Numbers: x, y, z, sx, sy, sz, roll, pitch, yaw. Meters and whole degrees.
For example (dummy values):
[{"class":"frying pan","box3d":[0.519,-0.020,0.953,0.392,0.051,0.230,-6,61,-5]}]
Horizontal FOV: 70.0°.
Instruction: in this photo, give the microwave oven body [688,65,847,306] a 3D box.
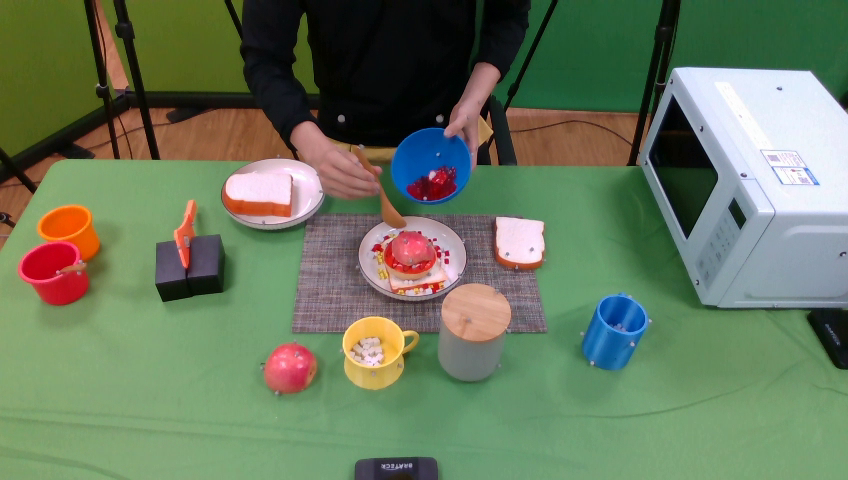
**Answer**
[{"class":"microwave oven body","box3d":[0.669,-0.111,1.176,0.326,0.261,0.439,0,46,-3]}]

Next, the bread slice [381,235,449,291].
[{"class":"bread slice","box3d":[-0.026,0.038,1.138,0.107,0.018,0.133,-13,46,-15]}]

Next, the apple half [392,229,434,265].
[{"class":"apple half","box3d":[-0.020,0.005,1.083,0.081,0.033,0.081,7,48,-7]}]

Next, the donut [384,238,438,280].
[{"class":"donut","box3d":[-0.025,0.030,1.110,0.099,0.048,0.098,3,46,-2]}]

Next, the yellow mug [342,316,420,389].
[{"class":"yellow mug","box3d":[-0.067,0.177,0.991,0.131,0.064,0.099,-16,50,-19]}]

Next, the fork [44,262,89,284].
[{"class":"fork","box3d":[-0.599,0.053,1.014,0.207,0.019,0.028,-14,29,45]}]

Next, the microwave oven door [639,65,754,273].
[{"class":"microwave oven door","box3d":[0.522,-0.147,1.193,0.039,0.245,0.353,0,47,-3]}]

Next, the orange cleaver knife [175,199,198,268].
[{"class":"orange cleaver knife","box3d":[-0.438,-0.017,1.138,0.012,0.077,0.210,-13,27,-7]}]

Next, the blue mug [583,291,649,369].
[{"class":"blue mug","box3d":[0.324,0.142,1.023,0.082,0.106,0.116,15,47,11]}]

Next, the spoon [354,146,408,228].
[{"class":"spoon","box3d":[-0.071,-0.080,0.968,0.041,0.195,0.021,1,49,26]}]

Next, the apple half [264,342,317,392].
[{"class":"apple half","box3d":[-0.214,0.198,0.970,0.074,0.053,0.080,19,48,10]}]

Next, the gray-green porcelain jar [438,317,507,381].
[{"class":"gray-green porcelain jar","box3d":[0.076,0.158,0.977,0.106,0.127,0.105,2,47,-2]}]

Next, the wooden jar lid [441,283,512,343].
[{"class":"wooden jar lid","box3d":[0.080,0.114,0.931,0.108,0.021,0.107,1,49,-1]}]

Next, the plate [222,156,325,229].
[{"class":"plate","box3d":[-0.308,-0.095,1.251,0.209,0.038,0.208,2,47,-2]}]

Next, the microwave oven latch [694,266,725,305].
[{"class":"microwave oven latch","box3d":[0.523,0.082,1.115,0.030,0.029,0.078,3,46,0]}]

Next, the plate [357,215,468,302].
[{"class":"plate","box3d":[-0.022,0.037,1.141,0.208,0.039,0.206,2,46,-2]}]

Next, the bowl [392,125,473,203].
[{"class":"bowl","box3d":[0.021,-0.130,1.135,0.151,0.077,0.151,-3,73,10]}]

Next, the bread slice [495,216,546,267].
[{"class":"bread slice","box3d":[0.194,0.002,1.204,0.105,0.019,0.131,5,45,2]}]
